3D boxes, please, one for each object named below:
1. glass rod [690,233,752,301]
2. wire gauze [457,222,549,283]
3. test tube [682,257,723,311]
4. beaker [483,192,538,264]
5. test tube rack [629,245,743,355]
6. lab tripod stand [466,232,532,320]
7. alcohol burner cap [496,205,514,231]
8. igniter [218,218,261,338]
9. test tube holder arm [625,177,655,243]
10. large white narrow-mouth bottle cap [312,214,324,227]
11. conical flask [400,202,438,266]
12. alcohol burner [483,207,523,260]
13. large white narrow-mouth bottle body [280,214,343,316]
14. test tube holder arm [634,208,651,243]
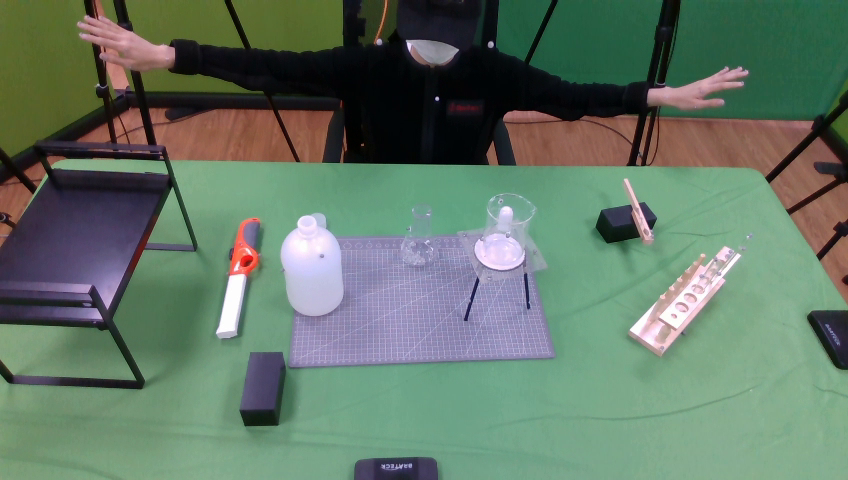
[{"bbox_3d":[0.507,0.053,1.041,0.008,0.200,0.008,5,51,-6],"label":"glass rod"},{"bbox_3d":[0.131,0.016,1.017,0.121,0.011,0.124,-10,44,-15],"label":"wire gauze"},{"bbox_3d":[0.474,0.080,1.037,0.017,0.151,0.017,1,50,-1],"label":"test tube"},{"bbox_3d":[0.136,-0.017,0.980,0.084,0.101,0.073,-6,45,-9],"label":"beaker"},{"bbox_3d":[0.474,0.095,1.091,0.242,0.085,0.066,-34,56,-31],"label":"test tube rack"},{"bbox_3d":[0.125,0.059,1.065,0.148,0.132,0.147,1,45,0],"label":"lab tripod stand"},{"bbox_3d":[0.153,-0.045,1.131,0.034,0.048,0.033,2,40,-1],"label":"alcohol burner cap"},{"bbox_3d":[-0.336,0.060,1.111,0.057,0.025,0.274,-8,46,4],"label":"igniter"},{"bbox_3d":[0.433,-0.063,1.220,0.013,0.015,0.177,1,47,-3],"label":"test tube holder arm"},{"bbox_3d":[-0.219,-0.033,1.214,0.038,0.024,0.037,2,46,-2],"label":"large white narrow-mouth bottle cap"},{"bbox_3d":[-0.007,-0.014,1.135,0.075,0.122,0.075,2,46,-2],"label":"conical flask"},{"bbox_3d":[0.152,-0.018,1.156,0.078,0.120,0.077,0,47,0],"label":"alcohol burner"},{"bbox_3d":[-0.190,0.035,1.025,0.102,0.195,0.101,2,46,-2],"label":"large white narrow-mouth bottle body"},{"bbox_3d":[0.428,-0.030,1.189,0.010,0.015,0.087,2,47,-2],"label":"test tube holder arm"}]
